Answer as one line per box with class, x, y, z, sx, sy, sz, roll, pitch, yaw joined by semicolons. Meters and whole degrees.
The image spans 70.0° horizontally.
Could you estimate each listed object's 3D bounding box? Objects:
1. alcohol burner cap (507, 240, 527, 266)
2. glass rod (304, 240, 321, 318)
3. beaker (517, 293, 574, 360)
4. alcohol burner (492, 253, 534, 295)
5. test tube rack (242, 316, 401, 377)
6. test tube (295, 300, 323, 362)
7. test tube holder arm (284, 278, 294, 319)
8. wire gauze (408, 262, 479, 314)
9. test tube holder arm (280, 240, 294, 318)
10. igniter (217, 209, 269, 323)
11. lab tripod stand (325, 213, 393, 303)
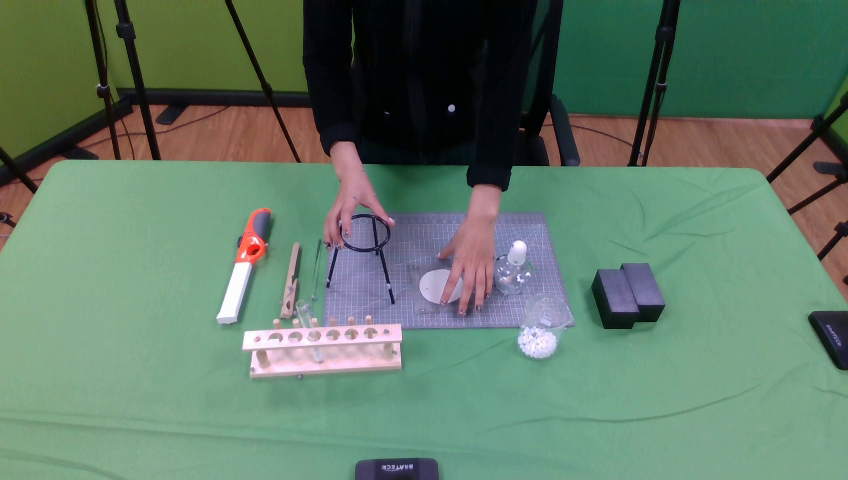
alcohol burner cap;0.167;0.021;1.075;0.034;0.048;0.033;0;55;0
glass rod;-0.207;0.069;1.128;0.008;0.008;0.198;2;43;-2
beaker;0.200;0.149;1.018;0.084;0.101;0.073;14;47;8
alcohol burner;0.165;0.045;1.102;0.078;0.119;0.077;3;48;-3
test tube rack;-0.161;0.166;0.983;0.242;0.085;0.066;-2;46;-6
test tube;-0.176;0.143;0.935;0.017;0.151;0.017;-2;46;2
test tube holder arm;-0.243;0.103;1.085;0.010;0.015;0.087;30;36;-31
wire gauze;0.035;0.085;1.127;0.121;0.011;0.124;-3;43;-6
test tube holder arm;-0.251;0.068;1.113;0.013;0.015;0.177;28;37;-33
igniter;-0.335;0.039;1.132;0.057;0.025;0.275;-3;46;6
lab tripod stand;-0.104;0.031;1.080;0.148;0.132;0.147;4;45;-3
